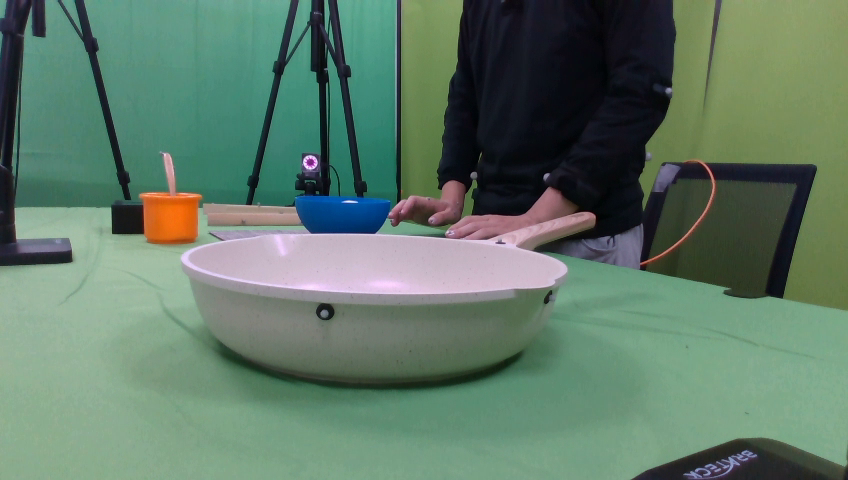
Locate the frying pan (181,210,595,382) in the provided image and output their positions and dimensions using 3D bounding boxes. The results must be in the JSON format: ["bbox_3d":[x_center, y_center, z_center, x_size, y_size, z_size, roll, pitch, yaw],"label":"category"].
[{"bbox_3d":[0.034,0.019,0.557,0.305,0.102,0.490,10,19,42],"label":"frying pan"}]

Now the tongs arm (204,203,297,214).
[{"bbox_3d":[-0.295,-0.062,1.370,0.386,0.026,0.050,1,9,-19],"label":"tongs arm"}]

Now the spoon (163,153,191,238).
[{"bbox_3d":[-0.413,-0.077,0.996,0.042,0.193,0.021,2,-37,-31],"label":"spoon"}]

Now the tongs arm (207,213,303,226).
[{"bbox_3d":[-0.264,-0.046,1.297,0.390,0.028,0.028,-2,7,-32],"label":"tongs arm"}]

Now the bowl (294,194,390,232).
[{"bbox_3d":[-0.130,-0.029,0.956,0.151,0.077,0.151,3,7,0],"label":"bowl"}]
